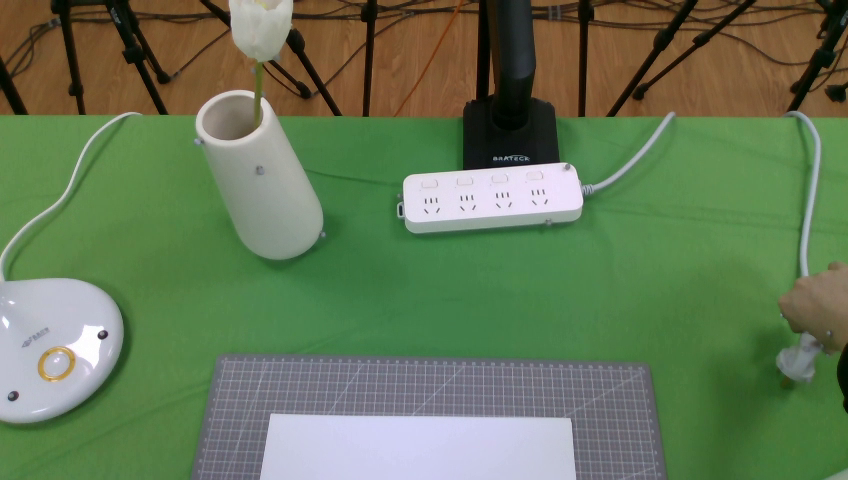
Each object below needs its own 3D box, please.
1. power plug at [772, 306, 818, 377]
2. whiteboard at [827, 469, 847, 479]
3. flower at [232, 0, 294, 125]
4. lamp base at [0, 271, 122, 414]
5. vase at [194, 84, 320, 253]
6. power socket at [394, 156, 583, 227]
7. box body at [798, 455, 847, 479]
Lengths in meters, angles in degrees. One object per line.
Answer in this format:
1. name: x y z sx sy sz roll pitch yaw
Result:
1. power plug: 0.378 0.107 0.611 0.072 0.053 0.035 -28 58 -37
2. whiteboard: 0.487 0.288 0.444 0.217 0.145 0.302 -17 61 -12
3. flower: -0.157 -0.103 0.562 0.044 0.363 0.038 -38 82 -28
4. lamp base: -0.416 0.060 0.581 0.178 0.182 0.160 30 65 21
5. vase: -0.173 -0.069 0.637 0.098 0.202 0.097 -1 59 3
6. power socket: 0.076 -0.058 0.719 0.227 0.033 0.071 -4 61 -1
7. box body: 0.488 0.293 0.427 0.254 0.162 0.360 -18 61 -8
